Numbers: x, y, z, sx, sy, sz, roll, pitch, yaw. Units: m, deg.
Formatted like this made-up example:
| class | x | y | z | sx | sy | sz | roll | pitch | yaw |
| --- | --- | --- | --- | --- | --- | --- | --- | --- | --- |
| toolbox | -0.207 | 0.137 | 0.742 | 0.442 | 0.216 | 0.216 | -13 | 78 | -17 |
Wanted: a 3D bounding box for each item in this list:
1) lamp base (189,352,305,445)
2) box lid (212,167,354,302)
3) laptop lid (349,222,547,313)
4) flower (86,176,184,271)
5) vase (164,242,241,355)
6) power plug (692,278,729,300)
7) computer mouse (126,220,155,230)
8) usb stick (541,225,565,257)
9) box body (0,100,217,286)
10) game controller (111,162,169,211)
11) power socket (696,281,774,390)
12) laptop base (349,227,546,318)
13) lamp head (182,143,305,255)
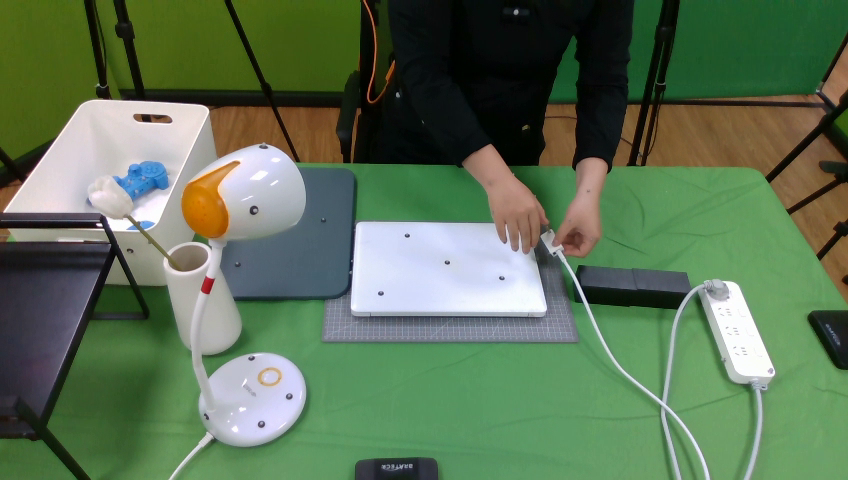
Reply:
| class | x | y | z | sx | sy | sz | roll | pitch | yaw |
| --- | --- | --- | --- | --- | --- | --- | --- | --- | --- |
| lamp base | -0.268 | 0.196 | 0.876 | 0.160 | 0.181 | 0.179 | 25 | 52 | 20 |
| box lid | -0.276 | -0.024 | 1.205 | 0.263 | 0.015 | 0.369 | 0 | 46 | -4 |
| laptop lid | 0.041 | 0.046 | 1.143 | 0.357 | 0.013 | 0.240 | 2 | 44 | -3 |
| flower | -0.365 | 0.038 | 0.894 | 0.038 | 0.364 | 0.044 | -5 | 53 | 14 |
| vase | -0.349 | 0.096 | 0.954 | 0.098 | 0.201 | 0.097 | 3 | 47 | -3 |
| power plug | 0.523 | 0.090 | 1.117 | 0.072 | 0.053 | 0.035 | 10 | 47 | 8 |
| computer mouse | -0.537 | 0.008 | 1.127 | 0.062 | 0.041 | 0.117 | 32 | 56 | 20 |
| usb stick | 0.239 | 0.000 | 1.134 | 0.027 | 0.021 | 0.059 | -34 | 53 | 23 |
| box body | -0.559 | -0.093 | 1.145 | 0.254 | 0.161 | 0.361 | 3 | 46 | -2 |
| game controller | -0.597 | -0.113 | 1.234 | 0.097 | 0.052 | 0.155 | 29 | 51 | 20 |
| power socket | 0.550 | 0.159 | 1.080 | 0.072 | 0.033 | 0.225 | 3 | 46 | -1 |
| laptop base | 0.040 | 0.056 | 1.149 | 0.355 | 0.023 | 0.234 | 1 | 43 | -4 |
| lamp head | -0.216 | -0.044 | 0.697 | 0.112 | 0.113 | 0.123 | 23 | 31 | 17 |
